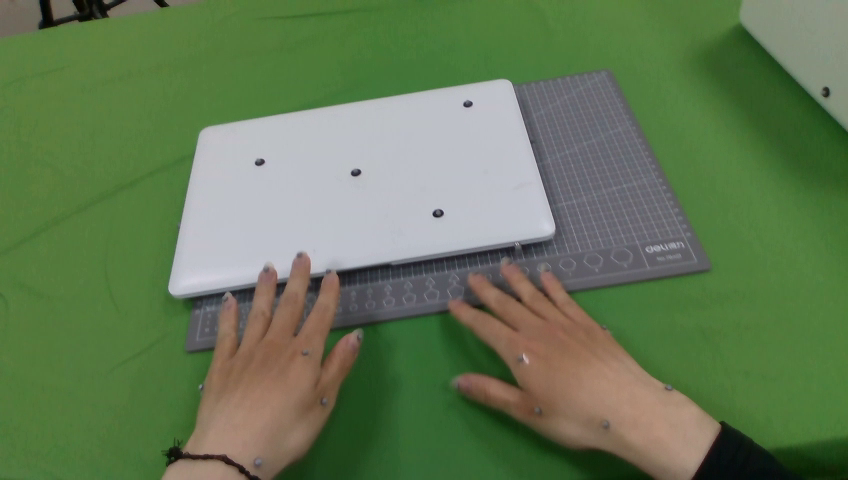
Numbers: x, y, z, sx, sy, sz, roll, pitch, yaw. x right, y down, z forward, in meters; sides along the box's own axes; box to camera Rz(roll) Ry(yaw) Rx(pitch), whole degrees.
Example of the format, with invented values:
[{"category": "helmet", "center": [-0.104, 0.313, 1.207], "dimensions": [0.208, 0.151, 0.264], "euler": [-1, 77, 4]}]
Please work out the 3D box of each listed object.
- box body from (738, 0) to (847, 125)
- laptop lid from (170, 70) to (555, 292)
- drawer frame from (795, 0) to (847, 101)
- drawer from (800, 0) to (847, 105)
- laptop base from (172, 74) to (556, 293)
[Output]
[{"category": "box body", "center": [0.500, -0.219, 0.559], "dimensions": [0.254, 0.162, 0.360], "euler": [-13, 50, -2]}, {"category": "laptop lid", "center": [-0.067, -0.071, 0.604], "dimensions": [0.357, 0.013, 0.239], "euler": [-8, 52, 3]}, {"category": "drawer frame", "center": [0.501, -0.169, 0.559], "dimensions": [0.202, 0.083, 0.211], "euler": [-9, 49, 1]}, {"category": "drawer", "center": [0.500, -0.167, 0.561], "dimensions": [0.194, 0.074, 0.209], "euler": [-11, 51, 4]}, {"category": "laptop base", "center": [-0.065, -0.065, 0.615], "dimensions": [0.354, 0.023, 0.233], "euler": [-9, 53, 1]}]
